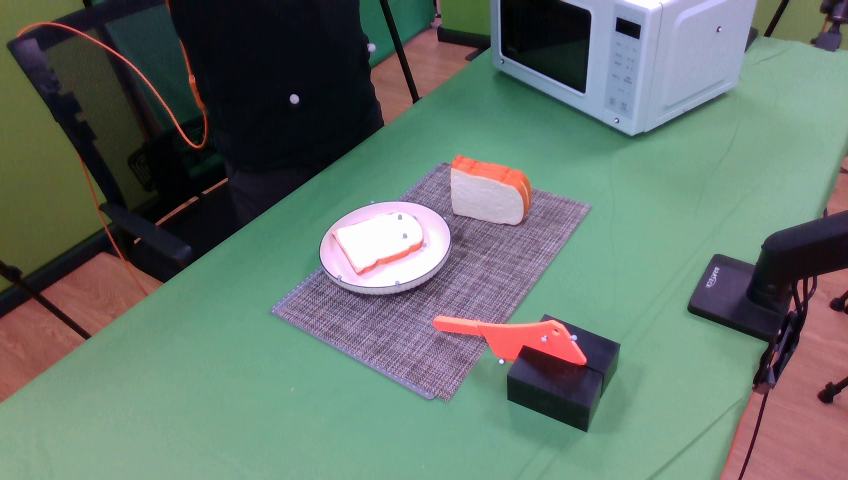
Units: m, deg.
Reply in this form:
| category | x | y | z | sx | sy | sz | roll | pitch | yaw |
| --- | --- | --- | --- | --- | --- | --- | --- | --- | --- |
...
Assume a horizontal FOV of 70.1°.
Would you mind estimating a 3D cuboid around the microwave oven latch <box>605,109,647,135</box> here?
| category | x | y | z | sx | sy | sz | roll | pitch | yaw |
| --- | --- | --- | --- | --- | --- | --- | --- | --- | --- |
| microwave oven latch | 0.378 | -0.225 | 1.139 | 0.030 | 0.029 | 0.078 | -26 | 43 | -19 |

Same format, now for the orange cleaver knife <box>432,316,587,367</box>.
| category | x | y | z | sx | sy | sz | roll | pitch | yaw |
| --- | --- | --- | --- | --- | --- | --- | --- | --- | --- |
| orange cleaver knife | 0.101 | 0.127 | 0.761 | 0.210 | 0.077 | 0.012 | -1 | 34 | 40 |

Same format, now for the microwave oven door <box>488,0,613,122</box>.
| category | x | y | z | sx | sy | sz | roll | pitch | yaw |
| --- | --- | --- | --- | --- | --- | --- | --- | --- | --- |
| microwave oven door | 0.250 | -0.412 | 1.219 | 0.039 | 0.245 | 0.352 | -27 | 44 | -21 |

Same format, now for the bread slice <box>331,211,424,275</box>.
| category | x | y | z | sx | sy | sz | roll | pitch | yaw |
| --- | --- | --- | --- | --- | --- | --- | --- | --- | --- |
| bread slice | -0.069 | -0.001 | 0.960 | 0.135 | 0.018 | 0.106 | -23 | 46 | -21 |

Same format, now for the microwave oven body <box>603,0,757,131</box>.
| category | x | y | z | sx | sy | sz | roll | pitch | yaw |
| --- | --- | --- | --- | --- | --- | --- | --- | --- | --- |
| microwave oven body | 0.396 | -0.448 | 1.248 | 0.327 | 0.261 | 0.437 | -27 | 44 | -21 |

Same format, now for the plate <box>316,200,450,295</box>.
| category | x | y | z | sx | sy | sz | roll | pitch | yaw |
| --- | --- | --- | --- | --- | --- | --- | --- | --- | --- |
| plate | -0.062 | 0.015 | 0.944 | 0.207 | 0.039 | 0.206 | -4 | 41 | 4 |
